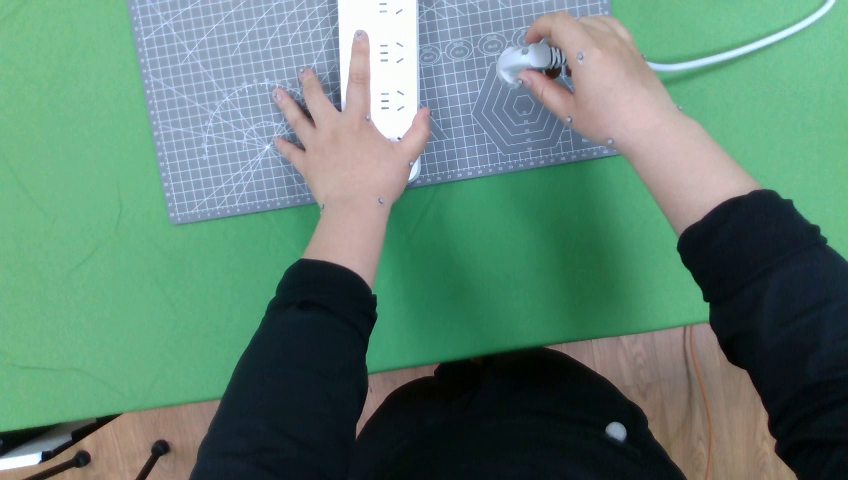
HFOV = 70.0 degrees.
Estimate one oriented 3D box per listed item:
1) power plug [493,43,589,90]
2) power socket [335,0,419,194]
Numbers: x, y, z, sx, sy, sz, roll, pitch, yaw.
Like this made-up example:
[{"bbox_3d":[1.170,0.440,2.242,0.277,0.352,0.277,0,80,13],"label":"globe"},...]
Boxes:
[{"bbox_3d":[0.094,-0.141,0.511,0.072,0.053,0.035,13,80,-4],"label":"power plug"},{"bbox_3d":[-0.043,-0.156,0.562,0.072,0.032,0.227,-1,96,2],"label":"power socket"}]
